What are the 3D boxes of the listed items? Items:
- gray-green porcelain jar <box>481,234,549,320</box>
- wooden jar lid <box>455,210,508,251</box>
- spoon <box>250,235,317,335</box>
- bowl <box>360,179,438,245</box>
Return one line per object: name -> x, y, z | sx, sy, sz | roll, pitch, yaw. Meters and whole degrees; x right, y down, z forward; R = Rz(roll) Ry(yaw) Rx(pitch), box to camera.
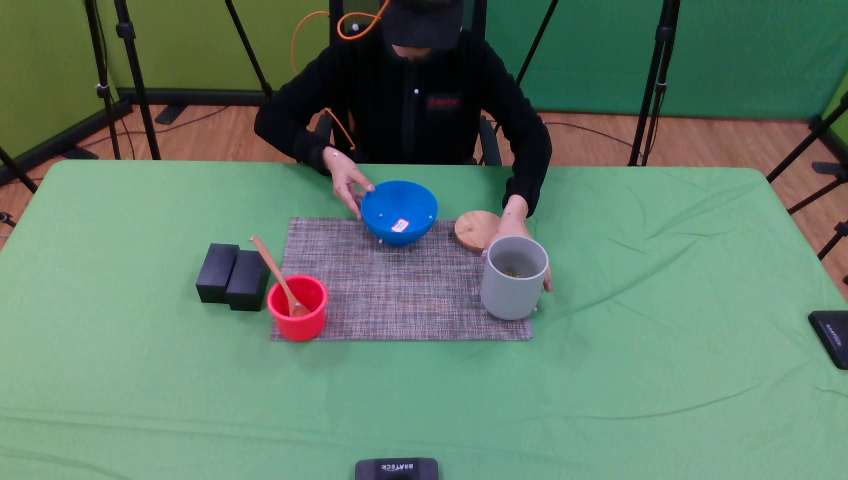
gray-green porcelain jar -> 0.156, 0.070, 1.064 | 0.106, 0.127, 0.105 | 2, 46, -2
wooden jar lid -> 0.115, -0.018, 1.220 | 0.108, 0.021, 0.107 | 3, 47, -3
spoon -> -0.237, 0.075, 1.019 | 0.041, 0.021, 0.194 | -32, 100, -32
bowl -> -0.049, -0.042, 1.190 | 0.151, 0.077, 0.150 | 2, 46, -2
